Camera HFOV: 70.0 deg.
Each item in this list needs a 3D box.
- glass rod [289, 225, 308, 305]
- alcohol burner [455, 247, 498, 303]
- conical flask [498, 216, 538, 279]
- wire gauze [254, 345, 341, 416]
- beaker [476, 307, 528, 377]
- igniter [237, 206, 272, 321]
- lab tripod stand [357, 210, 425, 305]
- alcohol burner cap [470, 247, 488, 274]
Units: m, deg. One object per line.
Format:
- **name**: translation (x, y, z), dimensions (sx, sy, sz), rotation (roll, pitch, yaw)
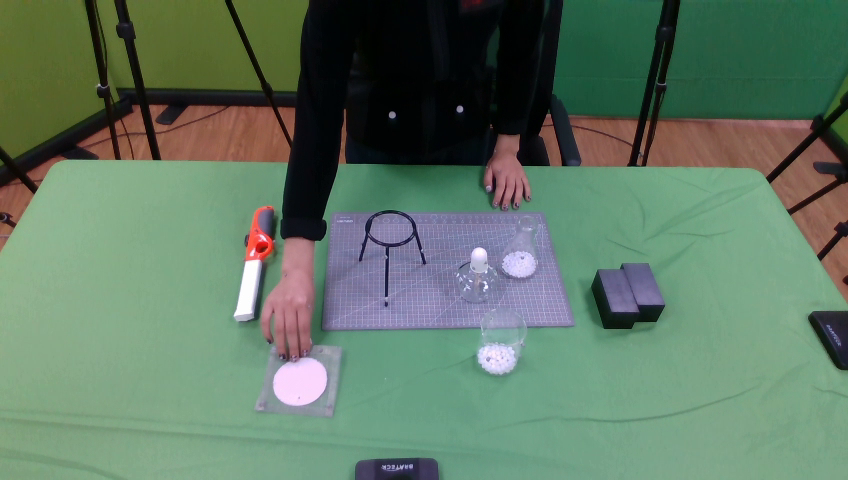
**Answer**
- **glass rod**: translation (-0.236, 0.042, 1.149), dimensions (0.008, 0.008, 0.198), rotation (2, 47, -1)
- **alcohol burner**: translation (0.095, 0.057, 1.085), dimensions (0.078, 0.120, 0.077), rotation (1, 47, -1)
- **conical flask**: translation (0.183, 0.010, 1.132), dimensions (0.075, 0.122, 0.075), rotation (2, 46, -2)
- **wire gauze**: translation (-0.201, 0.223, 0.976), dimensions (0.125, 0.011, 0.121), rotation (3, 49, 3)
- **beaker**: translation (0.122, 0.171, 0.991), dimensions (0.084, 0.101, 0.073), rotation (-34, 56, -31)
- **igniter**: translation (-0.317, 0.035, 1.138), dimensions (0.057, 0.025, 0.274), rotation (-9, 46, 2)
- **lab tripod stand**: translation (-0.060, 0.020, 1.094), dimensions (0.148, 0.132, 0.147), rotation (3, 44, -2)
- **alcohol burner cap**: translation (0.095, 0.034, 1.057), dimensions (0.034, 0.048, 0.033), rotation (-3, 53, 4)
